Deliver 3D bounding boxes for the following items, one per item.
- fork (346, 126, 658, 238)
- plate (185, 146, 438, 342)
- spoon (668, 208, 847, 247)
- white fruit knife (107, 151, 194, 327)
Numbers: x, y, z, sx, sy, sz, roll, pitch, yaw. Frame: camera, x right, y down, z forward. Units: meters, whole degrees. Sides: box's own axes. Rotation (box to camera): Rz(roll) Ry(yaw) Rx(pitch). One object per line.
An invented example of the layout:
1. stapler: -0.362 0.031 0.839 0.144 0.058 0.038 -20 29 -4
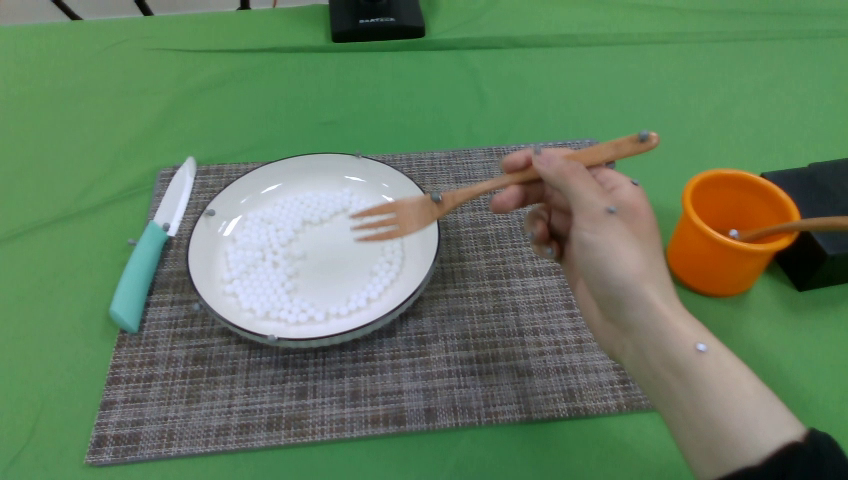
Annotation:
1. fork: 0.046 -0.038 0.393 0.207 0.019 0.028 -17 71 13
2. plate: -0.092 0.001 0.517 0.209 0.038 0.207 1 49 0
3. spoon: 0.278 -0.013 0.469 0.041 0.193 0.022 -34 101 -29
4. white fruit knife: -0.239 -0.012 0.541 0.027 0.016 0.205 21 44 -20
